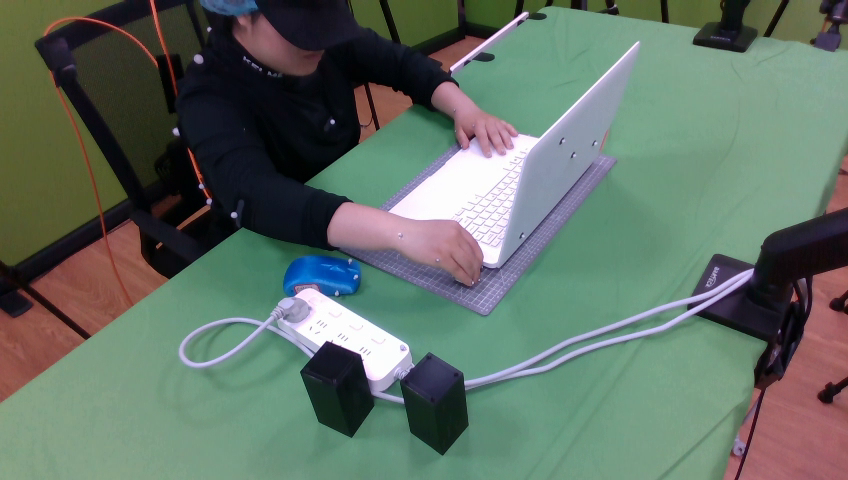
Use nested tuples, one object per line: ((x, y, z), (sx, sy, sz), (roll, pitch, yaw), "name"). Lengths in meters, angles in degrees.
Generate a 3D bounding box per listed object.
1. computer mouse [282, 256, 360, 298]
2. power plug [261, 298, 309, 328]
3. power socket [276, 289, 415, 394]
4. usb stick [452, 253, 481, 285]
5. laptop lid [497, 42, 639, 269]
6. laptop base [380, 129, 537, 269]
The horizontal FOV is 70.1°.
((-0.156, 0.055, 0.918), (0.117, 0.041, 0.062), (-1, 38, 4), "computer mouse")
((-0.192, 0.107, 0.830), (0.073, 0.053, 0.035), (-32, 42, -27), "power plug")
((-0.114, 0.133, 0.820), (0.225, 0.033, 0.072), (25, 49, 32), "power socket")
((0.067, 0.038, 0.899), (0.021, 0.027, 0.059), (23, 45, 34), "usb stick")
((0.221, -0.130, 0.913), (0.013, 0.242, 0.357), (30, 51, 21), "laptop lid")
((0.119, -0.087, 1.059), (0.233, 0.023, 0.355), (19, 47, 32), "laptop base")
